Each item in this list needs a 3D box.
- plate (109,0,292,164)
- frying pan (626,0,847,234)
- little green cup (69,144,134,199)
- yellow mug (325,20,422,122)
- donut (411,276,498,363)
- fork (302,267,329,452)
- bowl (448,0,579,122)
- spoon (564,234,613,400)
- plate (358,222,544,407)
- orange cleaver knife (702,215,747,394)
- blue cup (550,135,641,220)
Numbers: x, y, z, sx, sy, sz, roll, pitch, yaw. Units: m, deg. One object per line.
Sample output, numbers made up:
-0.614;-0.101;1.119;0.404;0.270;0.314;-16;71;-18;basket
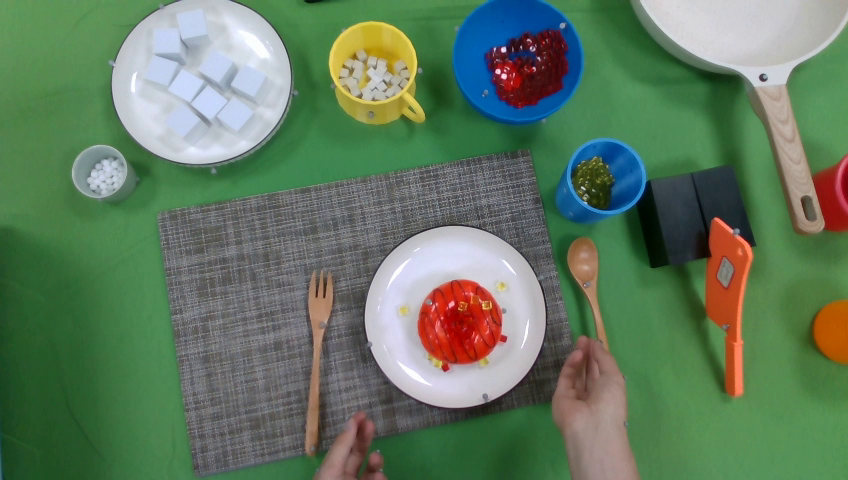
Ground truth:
-0.259;-0.188;0.718;0.208;0.039;0.207;0;82;-3;plate
0.389;-0.241;0.728;0.307;0.103;0.485;-5;75;-3;frying pan
-0.366;-0.076;0.694;0.061;0.038;0.061;1;82;-4;little green cup
-0.051;-0.188;0.716;0.131;0.064;0.100;42;82;2;yellow mug
0.034;0.090;0.681;0.099;0.048;0.099;0;86;-3;donut
-0.126;0.134;0.687;0.028;0.018;0.206;4;80;-13;fork
0.100;-0.203;0.720;0.151;0.077;0.151;0;82;-3;bowl
0.196;0.088;0.706;0.042;0.021;0.192;-3;75;-25;spoon
0.031;0.083;0.693;0.209;0.038;0.208;0;83;-3;plate
0.340;0.076;0.694;0.012;0.076;0.212;-11;111;-4;orange cleaver knife
0.187;-0.062;0.694;0.093;0.100;0.092;1;80;-4;blue cup
